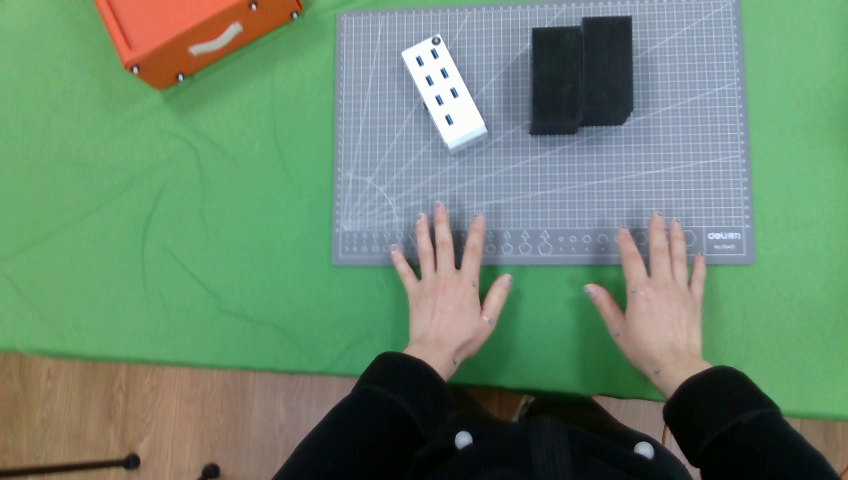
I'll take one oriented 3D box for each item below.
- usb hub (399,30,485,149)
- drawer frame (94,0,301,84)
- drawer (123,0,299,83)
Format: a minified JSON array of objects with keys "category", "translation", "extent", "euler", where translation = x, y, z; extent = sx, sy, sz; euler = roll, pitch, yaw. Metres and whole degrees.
[{"category":"usb hub","translation":[0.020,-0.167,0.671],"extent":[0.049,0.025,0.124],"euler":[-26,82,1]},{"category":"drawer frame","translation":[-0.280,-0.322,0.690],"extent":[0.201,0.083,0.212],"euler":[-29,81,2]},{"category":"drawer","translation":[-0.279,-0.318,0.692],"extent":[0.194,0.073,0.211],"euler":[-28,81,3]}]
